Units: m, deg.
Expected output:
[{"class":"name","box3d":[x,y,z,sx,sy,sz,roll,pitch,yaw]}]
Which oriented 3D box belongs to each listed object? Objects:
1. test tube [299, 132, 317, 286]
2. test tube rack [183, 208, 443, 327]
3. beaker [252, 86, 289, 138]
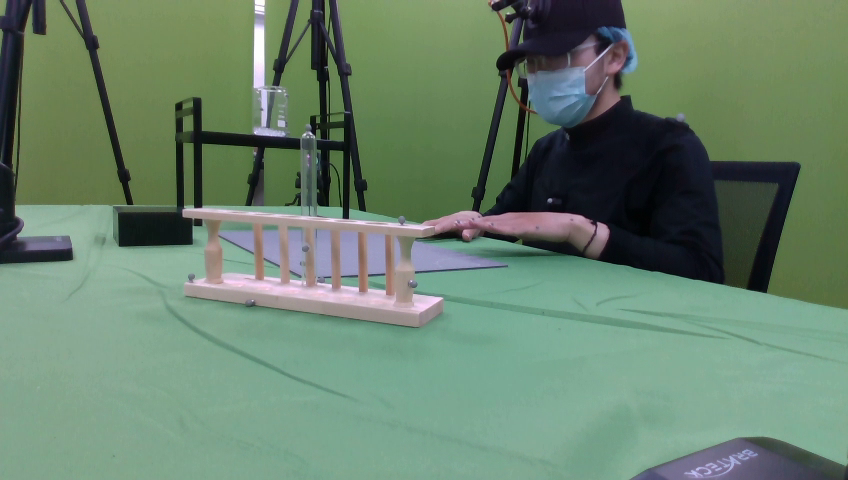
[{"class":"test tube","box3d":[-0.113,-0.029,0.588,0.017,0.150,0.017,1,7,0]},{"class":"test tube rack","box3d":[-0.106,0.019,0.570,0.241,0.085,0.067,5,8,19]},{"class":"beaker","box3d":[-0.319,-0.263,1.250,0.074,0.100,0.084,5,8,21]}]
